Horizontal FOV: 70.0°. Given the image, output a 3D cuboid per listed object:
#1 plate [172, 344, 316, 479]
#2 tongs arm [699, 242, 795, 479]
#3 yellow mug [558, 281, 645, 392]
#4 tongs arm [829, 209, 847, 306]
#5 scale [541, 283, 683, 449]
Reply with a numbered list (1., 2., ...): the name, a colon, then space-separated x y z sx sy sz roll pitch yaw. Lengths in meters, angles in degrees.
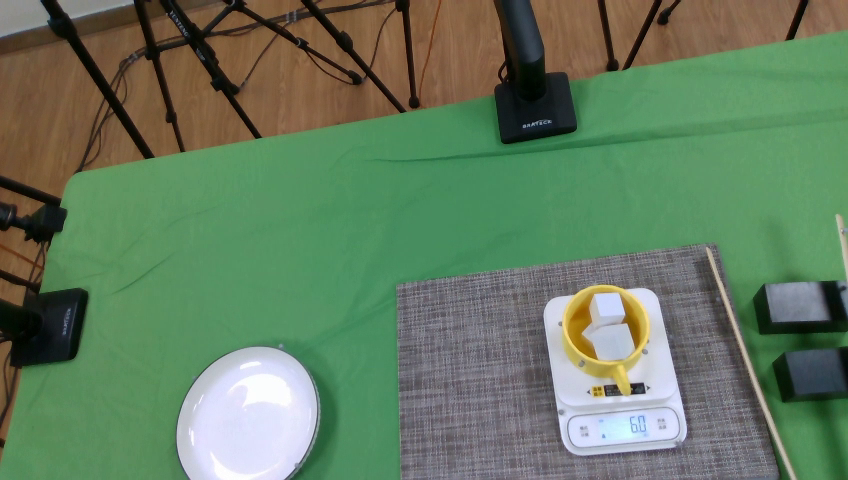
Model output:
1. plate: -0.245 0.250 0.840 0.207 0.039 0.206 -5 64 10
2. tongs arm: 0.405 0.174 0.723 0.028 0.028 0.384 -24 62 26
3. yellow mug: 0.220 0.121 0.738 0.100 0.064 0.129 -17 64 4
4. tongs arm: 0.469 0.152 0.678 0.050 0.027 0.382 -12 69 34
5. scale: 0.234 0.156 0.771 0.148 0.032 0.199 -9 64 10
